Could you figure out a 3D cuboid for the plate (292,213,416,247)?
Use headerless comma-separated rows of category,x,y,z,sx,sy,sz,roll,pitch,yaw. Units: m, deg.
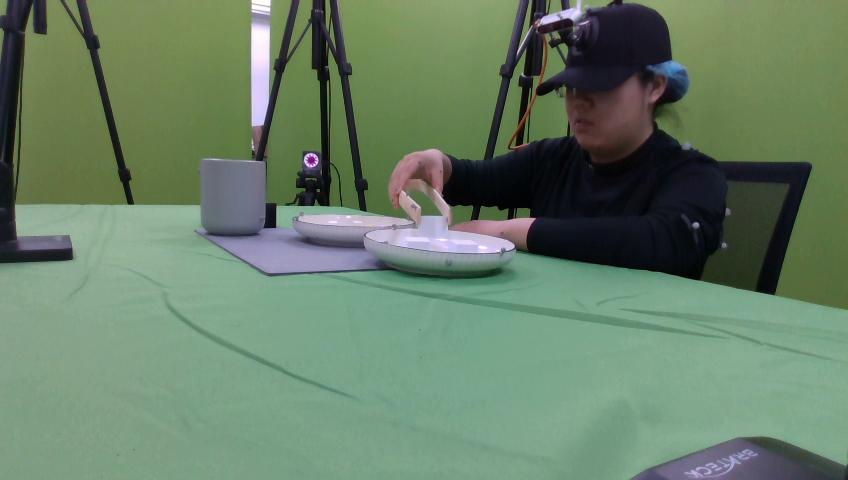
plate,-0.118,-0.017,1.024,0.208,0.039,0.207,3,8,0

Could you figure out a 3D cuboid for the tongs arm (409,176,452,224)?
tongs arm,0.009,-0.074,1.023,0.028,0.028,0.386,-5,13,-7

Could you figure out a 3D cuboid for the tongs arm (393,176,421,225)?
tongs arm,-0.020,-0.074,1.020,0.051,0.026,0.383,-2,13,-10

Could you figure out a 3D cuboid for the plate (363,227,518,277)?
plate,0.021,0.016,0.817,0.209,0.038,0.209,4,9,0

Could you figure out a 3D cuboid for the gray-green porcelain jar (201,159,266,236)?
gray-green porcelain jar,-0.326,-0.073,1.036,0.106,0.126,0.106,3,8,0
